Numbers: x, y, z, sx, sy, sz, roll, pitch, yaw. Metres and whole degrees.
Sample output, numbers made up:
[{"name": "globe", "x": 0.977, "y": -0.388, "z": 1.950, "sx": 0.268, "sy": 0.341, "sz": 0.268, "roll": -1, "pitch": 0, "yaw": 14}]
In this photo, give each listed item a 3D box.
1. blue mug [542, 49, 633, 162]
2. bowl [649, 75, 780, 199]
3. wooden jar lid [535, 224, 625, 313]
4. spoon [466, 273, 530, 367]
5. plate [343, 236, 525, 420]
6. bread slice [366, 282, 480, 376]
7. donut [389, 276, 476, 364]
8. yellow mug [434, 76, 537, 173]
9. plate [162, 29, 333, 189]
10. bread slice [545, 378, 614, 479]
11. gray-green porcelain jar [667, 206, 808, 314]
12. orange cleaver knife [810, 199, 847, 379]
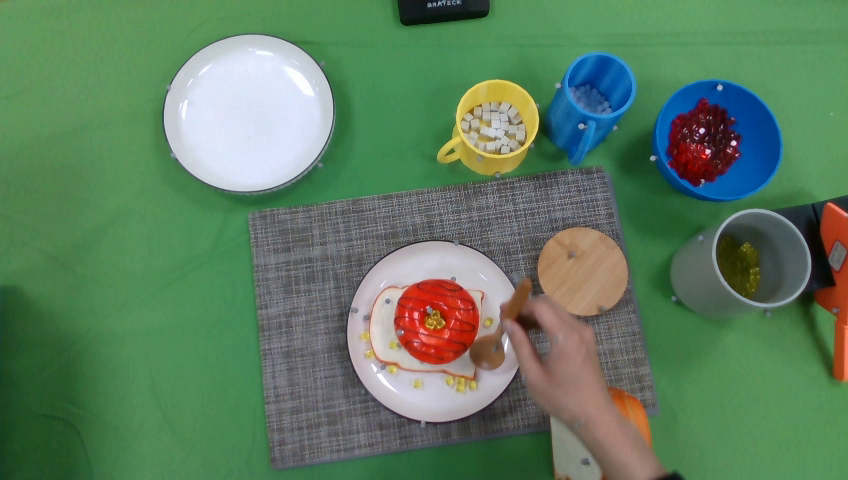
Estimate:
[{"name": "blue mug", "x": 0.191, "y": -0.152, "z": 0.731, "sx": 0.082, "sy": 0.106, "sz": 0.116, "roll": 12, "pitch": 78, "yaw": 1}, {"name": "bowl", "x": 0.340, "y": -0.114, "z": 0.741, "sx": 0.151, "sy": 0.077, "sz": 0.150, "roll": 0, "pitch": 78, "yaw": -1}, {"name": "wooden jar lid", "x": 0.187, "y": 0.034, "z": 0.731, "sx": 0.108, "sy": 0.021, "sz": 0.108, "roll": 0, "pitch": 79, "yaw": -2}, {"name": "spoon", "x": 0.076, "y": 0.085, "z": 0.609, "sx": 0.041, "sy": 0.195, "sz": 0.021, "roll": 26, "pitch": 60, "yaw": 7}, {"name": "plate", "x": 0.012, "y": 0.100, "z": 0.703, "sx": 0.209, "sy": 0.038, "sz": 0.208, "roll": 0, "pitch": 78, "yaw": -2}, {"name": "bread slice", "x": -0.002, "y": 0.100, "z": 0.705, "sx": 0.132, "sy": 0.019, "sz": 0.104, "roll": 6, "pitch": 77, "yaw": -4}, {"name": "donut", "x": 0.010, "y": 0.088, "z": 0.677, "sx": 0.099, "sy": 0.048, "sz": 0.098, "roll": 0, "pitch": 74, "yaw": 1}, {"name": "yellow mug", "x": 0.070, "y": -0.133, "z": 0.743, "sx": 0.131, "sy": 0.064, "sz": 0.099, "roll": -29, "pitch": 80, "yaw": -6}, {"name": "plate", "x": -0.215, "y": -0.159, "z": 0.754, "sx": 0.208, "sy": 0.039, "sz": 0.206, "roll": 0, "pitch": 78, "yaw": -2}, {"name": "bread slice", "x": 0.162, "y": 0.199, "z": 0.642, "sx": 0.018, "sy": 0.134, "sz": 0.106, "roll": 0, "pitch": 76, "yaw": -11}, {"name": "gray-green porcelain jar", "x": 0.345, "y": 0.028, "z": 0.687, "sx": 0.106, "sy": 0.127, "sz": 0.105, "roll": 0, "pitch": 78, "yaw": -2}, {"name": "orange cleaver knife", "x": 0.478, "y": 0.059, "z": 0.707, "sx": 0.012, "sy": 0.076, "sz": 0.212, "roll": -10, "pitch": 108, "yaw": -3}]
